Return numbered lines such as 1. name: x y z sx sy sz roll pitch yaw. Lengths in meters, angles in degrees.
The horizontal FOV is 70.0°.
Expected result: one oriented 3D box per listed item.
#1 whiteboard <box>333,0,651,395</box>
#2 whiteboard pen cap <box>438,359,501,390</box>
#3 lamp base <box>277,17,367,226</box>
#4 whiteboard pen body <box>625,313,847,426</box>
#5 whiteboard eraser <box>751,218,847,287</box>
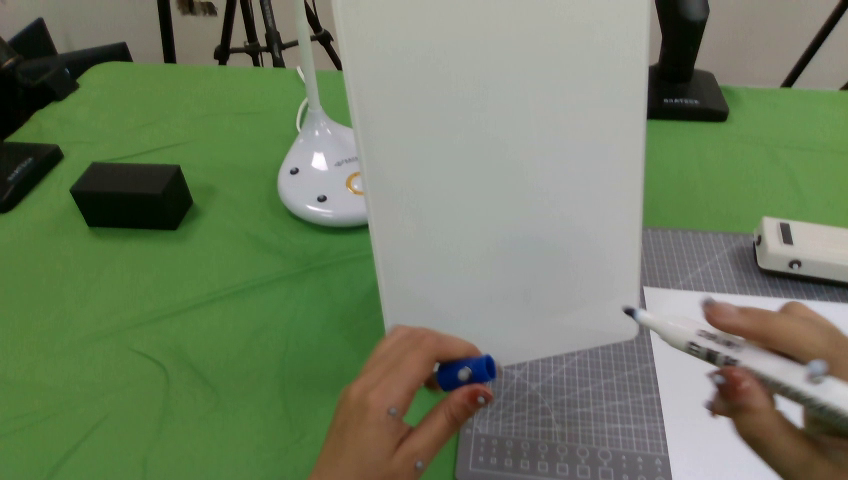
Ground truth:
1. whiteboard: 0.053 -0.057 0.510 0.217 0.307 0.142 -10 24 -7
2. whiteboard pen cap: 0.026 0.076 0.346 0.033 0.018 0.018 -9 37 26
3. lamp base: -0.097 -0.134 0.649 0.161 0.182 0.177 -30 47 -28
4. whiteboard pen body: 0.143 0.055 0.242 0.017 0.017 0.139 -34 36 -30
5. whiteboard eraser: 0.371 0.015 0.569 0.112 0.042 0.055 9 42 12
